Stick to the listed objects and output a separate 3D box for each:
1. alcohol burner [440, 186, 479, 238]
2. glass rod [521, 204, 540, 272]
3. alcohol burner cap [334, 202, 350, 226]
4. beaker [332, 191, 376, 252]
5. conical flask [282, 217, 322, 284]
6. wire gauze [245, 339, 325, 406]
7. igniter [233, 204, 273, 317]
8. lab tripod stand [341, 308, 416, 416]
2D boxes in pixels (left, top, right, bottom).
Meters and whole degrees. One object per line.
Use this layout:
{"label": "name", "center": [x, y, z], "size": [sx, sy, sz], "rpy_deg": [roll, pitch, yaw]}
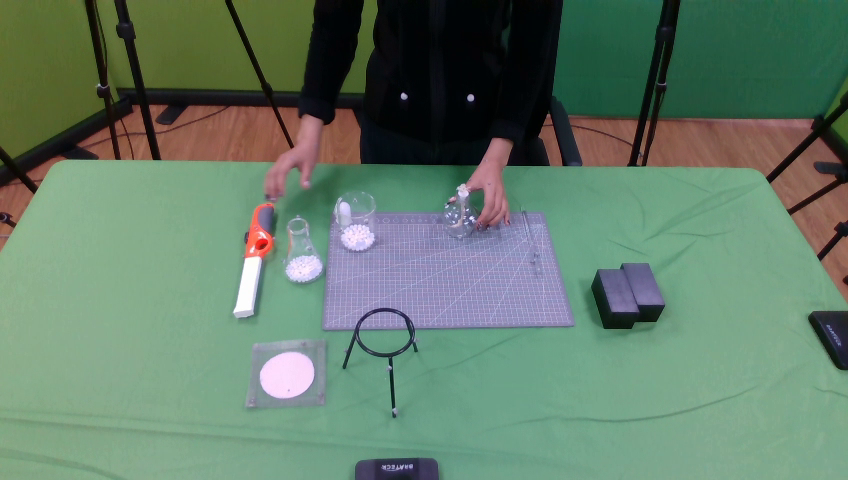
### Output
{"label": "alcohol burner", "center": [0.072, -0.062, 1.198], "size": [0.078, 0.119, 0.077], "rpy_deg": [4, 47, -4]}
{"label": "glass rod", "center": [0.215, -0.008, 1.230], "size": [0.008, 0.008, 0.198], "rpy_deg": [0, 43, -3]}
{"label": "alcohol burner cap", "center": [-0.166, -0.055, 1.222], "size": [0.034, 0.048, 0.033], "rpy_deg": [2, 46, -2]}
{"label": "beaker", "center": [-0.133, -0.032, 1.163], "size": [0.084, 0.101, 0.073], "rpy_deg": [-19, 50, -20]}
{"label": "conical flask", "center": [-0.225, 0.016, 1.097], "size": [0.075, 0.122, 0.075], "rpy_deg": [2, 46, -2]}
{"label": "wire gauze", "center": [-0.224, 0.214, 0.984], "size": [0.125, 0.011, 0.120], "rpy_deg": [-2, 46, -5]}
{"label": "igniter", "center": [-0.321, 0.029, 1.142], "size": [0.057, 0.025, 0.274], "rpy_deg": [-8, 46, 4]}
{"label": "lab tripod stand", "center": [-0.061, 0.177, 0.946], "size": [0.148, 0.132, 0.147], "rpy_deg": [2, 44, -2]}
